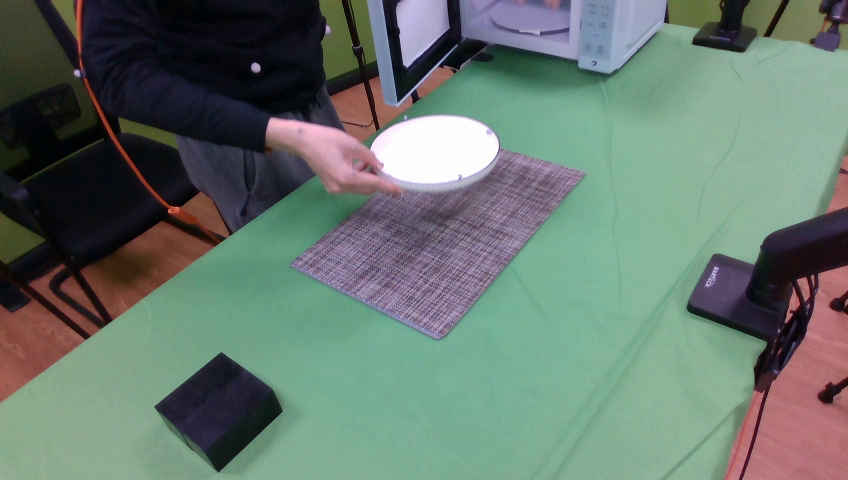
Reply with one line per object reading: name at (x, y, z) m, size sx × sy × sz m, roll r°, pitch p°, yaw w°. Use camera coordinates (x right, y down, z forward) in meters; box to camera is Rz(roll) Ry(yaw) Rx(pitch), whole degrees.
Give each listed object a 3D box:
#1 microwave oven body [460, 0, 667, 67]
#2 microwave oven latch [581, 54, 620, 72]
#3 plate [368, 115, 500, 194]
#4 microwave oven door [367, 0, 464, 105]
microwave oven body at (0.324, -0.608, 1.437) m, size 0.438 × 0.261 × 0.327 m, roll 22°, pitch 50°, yaw 31°
microwave oven latch at (0.386, -0.393, 1.330) m, size 0.078 × 0.029 × 0.030 m, roll 25°, pitch 51°, yaw 32°
plate at (0.016, -0.132, 0.956) m, size 0.209 × 0.038 × 0.208 m, roll -3°, pitch 40°, yaw 3°
microwave oven door at (-0.007, -0.495, 1.348) m, size 0.039 × 0.245 × 0.356 m, roll 14°, pitch 46°, yaw 23°
